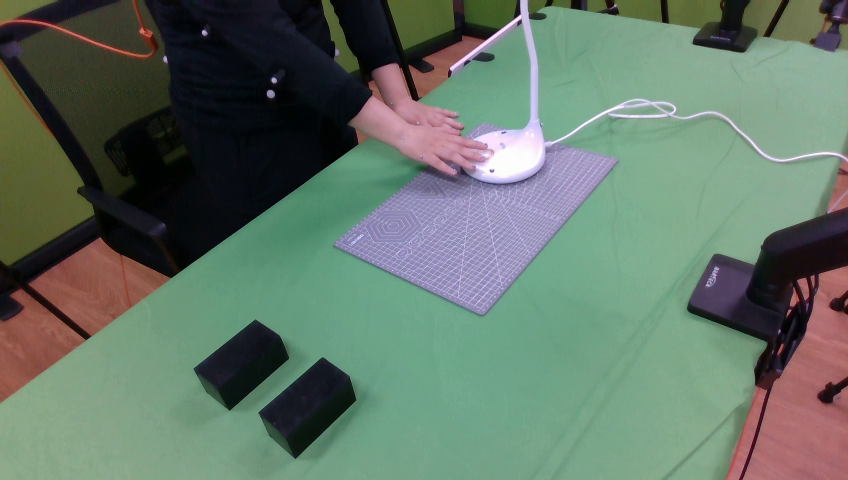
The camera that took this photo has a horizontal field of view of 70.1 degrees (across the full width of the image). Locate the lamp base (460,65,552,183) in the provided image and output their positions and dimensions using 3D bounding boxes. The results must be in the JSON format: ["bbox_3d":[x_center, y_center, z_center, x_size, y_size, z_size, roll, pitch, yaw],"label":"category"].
[{"bbox_3d":[0.150,-0.218,1.078,0.180,0.181,0.159,-19,41,-17],"label":"lamp base"}]
